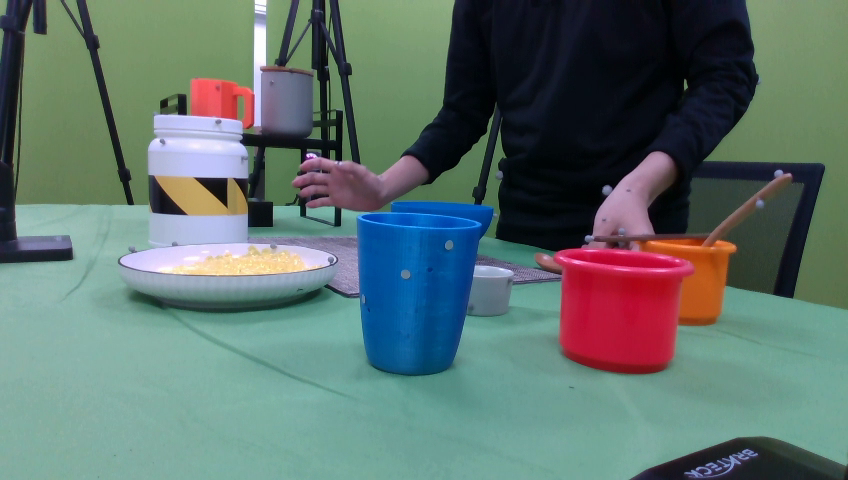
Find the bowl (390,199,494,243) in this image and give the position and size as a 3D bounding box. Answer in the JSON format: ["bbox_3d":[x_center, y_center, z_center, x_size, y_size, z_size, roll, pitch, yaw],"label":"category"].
[{"bbox_3d":[0.024,-0.016,0.874,0.151,0.077,0.151,2,7,0],"label":"bowl"}]

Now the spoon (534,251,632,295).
[{"bbox_3d":[0.193,0.038,0.753,0.042,0.021,0.193,14,2,-21],"label":"spoon"}]

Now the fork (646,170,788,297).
[{"bbox_3d":[0.256,0.004,0.543,0.028,0.018,0.207,3,-36,-9],"label":"fork"}]

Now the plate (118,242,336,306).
[{"bbox_3d":[-0.194,0.033,0.615,0.209,0.038,0.209,2,7,0],"label":"plate"}]

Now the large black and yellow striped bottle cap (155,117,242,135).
[{"bbox_3d":[-0.313,-0.159,0.845,0.115,0.019,0.115,3,9,0],"label":"large black and yellow striped bottle cap"}]

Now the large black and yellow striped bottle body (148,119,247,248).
[{"bbox_3d":[-0.318,-0.076,0.855,0.131,0.184,0.130,2,7,0],"label":"large black and yellow striped bottle body"}]

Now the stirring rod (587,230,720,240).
[{"bbox_3d":[0.226,-0.005,0.586,0.177,0.006,0.014,-2,8,-29],"label":"stirring rod"}]

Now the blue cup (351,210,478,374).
[{"bbox_3d":[-0.009,0.034,0.414,0.093,0.100,0.092,3,8,0],"label":"blue cup"}]

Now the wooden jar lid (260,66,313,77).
[{"bbox_3d":[-0.283,-0.339,1.245,0.108,0.020,0.108,6,9,-1],"label":"wooden jar lid"}]

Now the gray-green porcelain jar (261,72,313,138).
[{"bbox_3d":[-0.284,-0.276,1.253,0.106,0.126,0.106,2,8,0],"label":"gray-green porcelain jar"}]

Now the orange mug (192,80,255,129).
[{"bbox_3d":[-0.389,-0.257,1.173,0.126,0.100,0.083,-1,7,9],"label":"orange mug"}]

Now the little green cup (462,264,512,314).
[{"bbox_3d":[0.053,0.047,0.580,0.061,0.038,0.061,3,8,0],"label":"little green cup"}]
